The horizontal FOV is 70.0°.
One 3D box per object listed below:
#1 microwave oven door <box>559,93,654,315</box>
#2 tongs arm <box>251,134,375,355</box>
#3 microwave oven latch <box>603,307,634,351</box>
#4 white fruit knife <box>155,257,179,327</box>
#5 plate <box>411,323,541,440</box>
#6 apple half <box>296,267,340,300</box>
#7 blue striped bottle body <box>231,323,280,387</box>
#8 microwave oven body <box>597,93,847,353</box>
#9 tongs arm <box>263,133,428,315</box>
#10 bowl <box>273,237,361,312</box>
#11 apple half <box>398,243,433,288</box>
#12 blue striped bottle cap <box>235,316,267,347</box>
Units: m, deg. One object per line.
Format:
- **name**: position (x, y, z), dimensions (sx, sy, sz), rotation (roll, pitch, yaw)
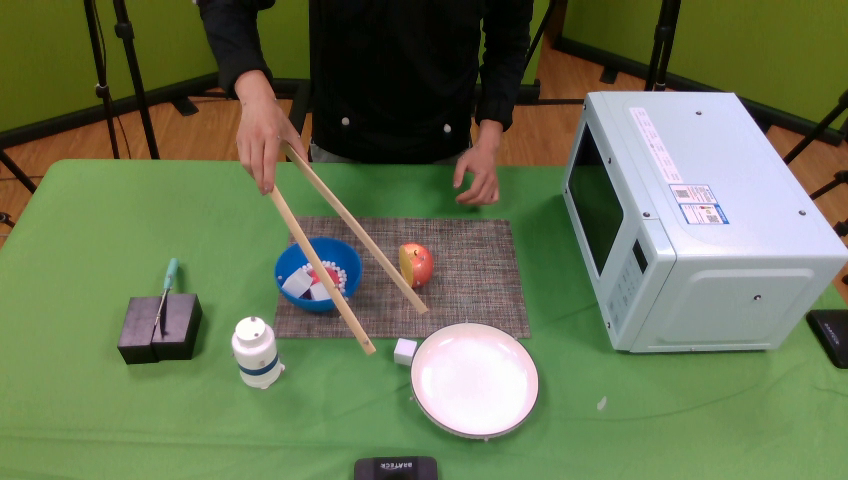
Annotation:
- **microwave oven door**: position (0.327, -0.074, 1.123), dimensions (0.039, 0.245, 0.353), rotation (-1, 46, -5)
- **tongs arm**: position (-0.170, 0.004, 0.950), dimensions (0.051, 0.026, 0.384), rotation (-30, 85, -37)
- **microwave oven latch**: position (0.332, 0.153, 1.044), dimensions (0.030, 0.029, 0.078), rotation (0, 45, -4)
- **white fruit knife**: position (-0.440, 0.085, 1.037), dimensions (0.016, 0.027, 0.206), rotation (10, 26, -19)
- **plate**: position (0.082, 0.228, 0.976), dimensions (0.208, 0.039, 0.206), rotation (2, 45, -2)
- **apple half**: position (-0.186, 0.070, 1.067), dimensions (0.081, 0.033, 0.081), rotation (2, 47, -2)
- **blue striped bottle body**: position (-0.262, 0.171, 0.944), dimensions (0.063, 0.121, 0.062), rotation (2, 46, -2)
- **microwave oven body**: position (0.475, -0.041, 1.109), dimensions (0.326, 0.261, 0.438), rotation (-1, 45, -4)
- **tongs arm**: position (-0.125, -0.026, 0.993), dimensions (0.387, 0.028, 0.028), rotation (49, 56, -2)
- **bowl**: position (-0.186, 0.074, 1.070), dimensions (0.151, 0.077, 0.150), rotation (2, 46, -2)
- **apple half**: position (-0.011, 0.046, 1.115), dimensions (0.053, 0.075, 0.080), rotation (-11, 44, -19)
- **blue striped bottle cap**: position (-0.259, 0.137, 0.907), dimensions (0.044, 0.021, 0.044), rotation (2, 43, -2)
